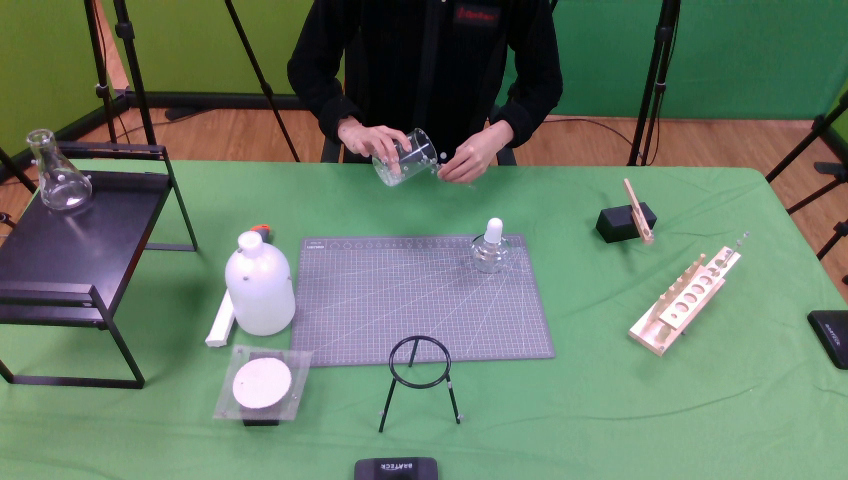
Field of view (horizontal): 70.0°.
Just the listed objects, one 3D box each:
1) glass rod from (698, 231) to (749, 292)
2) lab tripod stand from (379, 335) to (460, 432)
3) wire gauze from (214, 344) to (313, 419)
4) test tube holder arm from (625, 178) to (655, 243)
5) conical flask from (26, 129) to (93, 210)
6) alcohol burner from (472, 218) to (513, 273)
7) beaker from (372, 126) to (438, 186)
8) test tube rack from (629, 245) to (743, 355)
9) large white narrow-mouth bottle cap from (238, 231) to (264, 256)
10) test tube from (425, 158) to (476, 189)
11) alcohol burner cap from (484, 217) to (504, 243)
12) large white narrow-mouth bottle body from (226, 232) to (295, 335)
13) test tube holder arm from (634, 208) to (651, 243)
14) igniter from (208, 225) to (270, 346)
[{"bbox_3d":[0.515,0.044,1.051,0.008,0.200,0.008,1,55,-1],"label":"glass rod"},{"bbox_3d":[-0.011,0.214,0.911,0.148,0.132,0.147,1,45,0],"label":"lab tripod stand"},{"bbox_3d":[-0.241,0.213,0.915,0.121,0.011,0.124,5,46,1],"label":"wire gauze"},{"bbox_3d":[0.433,-0.063,1.220,0.013,0.015,0.177,1,47,-3],"label":"test tube holder arm"},{"bbox_3d":[-0.575,-0.113,0.946,0.075,0.122,0.075,2,46,-2],"label":"conical flask"},{"bbox_3d":[0.128,0.005,1.132,0.078,0.120,0.077,0,47,0],"label":"alcohol burner"},{"bbox_3d":[-0.037,-0.147,1.095,0.100,0.084,0.073,-32,54,-14],"label":"beaker"},{"bbox_3d":[0.474,0.095,1.091,0.242,0.085,0.066,-34,56,-31],"label":"test tube rack"},{"bbox_3d":[-0.266,0.006,0.932,0.038,0.024,0.037,2,46,-2],"label":"large white narrow-mouth bottle cap"},{"bbox_3d":[0.055,-0.129,1.189,0.151,0.017,0.017,21,27,-47],"label":"test tube"},{"bbox_3d":[0.130,-0.021,1.107,0.034,0.048,0.033,4,41,-3],"label":"alcohol burner cap"},{"bbox_3d":[-0.270,0.065,0.995,0.102,0.195,0.101,2,46,-2],"label":"large white narrow-mouth bottle body"},{"bbox_3d":[0.428,-0.030,1.189,0.010,0.015,0.087,1,47,-2],"label":"test tube holder arm"},{"bbox_3d":[-0.331,0.072,1.099,0.057,0.025,0.275,-4,45,10],"label":"igniter"}]
